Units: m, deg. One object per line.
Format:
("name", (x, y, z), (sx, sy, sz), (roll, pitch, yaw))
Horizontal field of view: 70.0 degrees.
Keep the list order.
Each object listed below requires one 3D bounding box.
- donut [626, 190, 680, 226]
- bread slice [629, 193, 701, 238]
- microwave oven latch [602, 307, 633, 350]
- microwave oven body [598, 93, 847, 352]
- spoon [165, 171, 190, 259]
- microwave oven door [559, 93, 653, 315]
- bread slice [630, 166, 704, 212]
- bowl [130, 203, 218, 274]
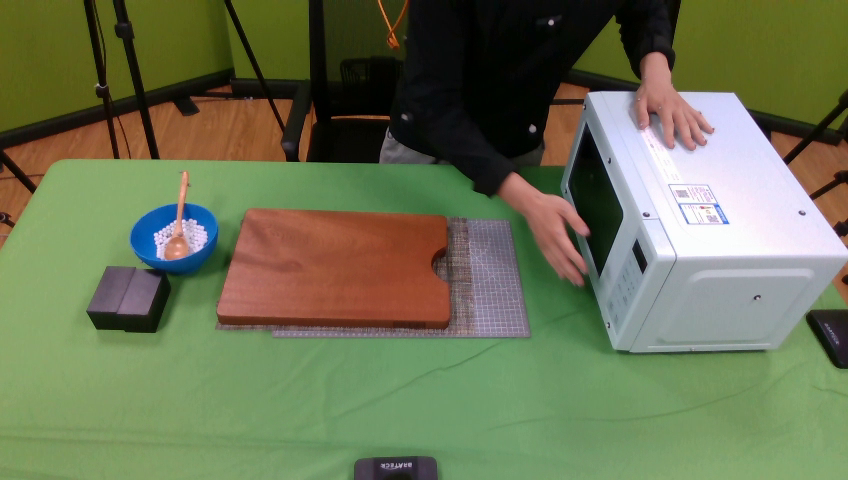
("donut", (0.442, -0.062, 1.171), (0.099, 0.048, 0.098), (-6, 30, 4))
("bread slice", (0.475, -0.049, 1.192), (0.131, 0.019, 0.104), (12, 44, 12))
("microwave oven latch", (0.332, 0.152, 1.044), (0.030, 0.029, 0.078), (0, 45, -4))
("microwave oven body", (0.475, -0.042, 1.109), (0.326, 0.261, 0.438), (-1, 45, -4))
("spoon", (-0.452, -0.046, 1.129), (0.041, 0.022, 0.193), (-1, 69, -3))
("microwave oven door", (0.327, -0.074, 1.123), (0.039, 0.245, 0.353), (-1, 46, -5))
("bread slice", (0.459, -0.093, 1.139), (0.134, 0.018, 0.106), (6, 43, -16))
("bowl", (-0.451, 0.010, 1.116), (0.151, 0.077, 0.150), (2, 45, -2))
